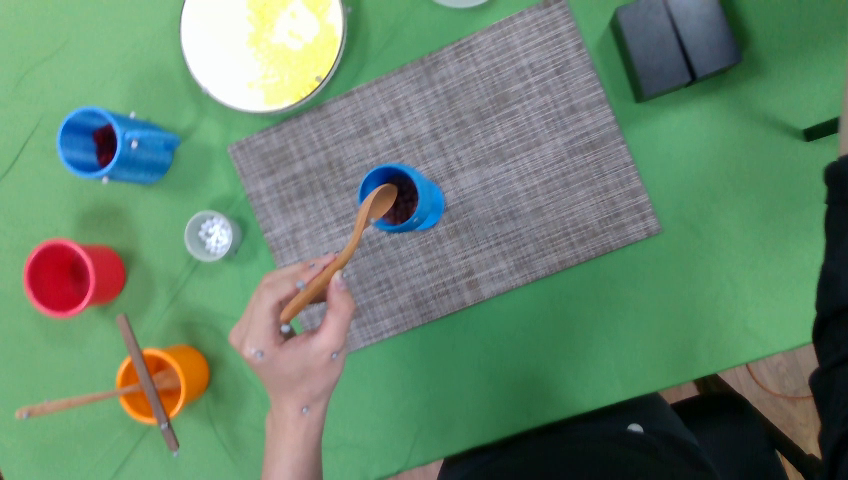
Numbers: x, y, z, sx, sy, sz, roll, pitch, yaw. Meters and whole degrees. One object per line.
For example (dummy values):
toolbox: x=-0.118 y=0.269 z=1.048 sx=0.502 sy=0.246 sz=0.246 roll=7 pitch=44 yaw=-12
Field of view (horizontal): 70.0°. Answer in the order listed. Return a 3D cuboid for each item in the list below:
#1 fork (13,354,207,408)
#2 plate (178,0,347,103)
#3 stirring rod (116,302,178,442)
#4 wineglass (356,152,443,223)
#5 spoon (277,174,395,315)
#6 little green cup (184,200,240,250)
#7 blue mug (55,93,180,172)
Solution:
fork: x=-0.369 y=0.169 z=0.727 sx=0.208 sy=0.018 sz=0.028 roll=-9 pitch=98 yaw=-35
plate: x=-0.193 y=-0.269 z=0.735 sx=0.209 sy=0.038 sz=0.209 roll=0 pitch=94 yaw=7
stirring rod: x=-0.329 y=0.156 z=0.719 sx=0.014 sy=0.006 sz=0.176 roll=-22 pitch=89 yaw=9
wineglass: x=-0.021 y=-0.054 z=0.651 sx=0.073 sy=0.172 sz=0.074 roll=0 pitch=92 yaw=8
spoon: x=-0.063 y=-0.002 z=0.478 sx=0.021 sy=0.192 sz=0.042 roll=25 pitch=126 yaw=2
little green cup: x=-0.262 y=-0.019 z=0.758 sx=0.061 sy=0.038 sz=0.061 roll=1 pitch=94 yaw=8
blue mug: x=-0.356 y=-0.129 z=0.731 sx=0.116 sy=0.106 sz=0.082 roll=-8 pitch=92 yaw=8
